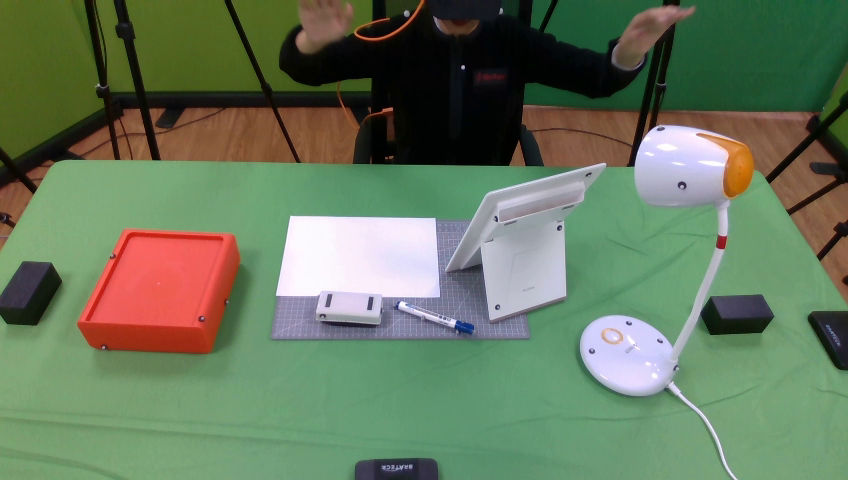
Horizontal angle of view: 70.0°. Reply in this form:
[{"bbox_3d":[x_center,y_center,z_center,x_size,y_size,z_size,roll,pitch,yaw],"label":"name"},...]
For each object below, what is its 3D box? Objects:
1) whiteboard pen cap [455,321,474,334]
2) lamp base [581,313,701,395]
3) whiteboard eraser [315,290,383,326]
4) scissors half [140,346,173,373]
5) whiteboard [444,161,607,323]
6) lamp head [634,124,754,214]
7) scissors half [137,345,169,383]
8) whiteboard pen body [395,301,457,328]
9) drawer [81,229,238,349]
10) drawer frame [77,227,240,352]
[{"bbox_3d":[0.069,0.151,1.046,0.033,0.018,0.018,14,47,16],"label":"whiteboard pen cap"},{"bbox_3d":[0.361,0.144,0.972,0.178,0.181,0.160,34,53,23],"label":"lamp base"},{"bbox_3d":[-0.130,0.120,1.054,0.113,0.042,0.055,4,47,0],"label":"whiteboard eraser"},{"bbox_3d":[-0.475,0.164,0.987,0.175,0.040,0.013,36,52,9],"label":"scissors half"},{"bbox_3d":[0.186,0.025,1.029,0.217,0.306,0.143,-14,68,-18],"label":"whiteboard"},{"bbox_3d":[0.351,-0.089,0.775,0.112,0.113,0.122,-30,30,-28],"label":"lamp head"},{"bbox_3d":[-0.479,0.171,0.996,0.175,0.040,0.013,48,46,-3],"label":"scissors half"},{"bbox_3d":[0.015,0.134,1.064,0.140,0.017,0.017,17,47,16],"label":"whiteboard pen body"},{"bbox_3d":[-0.444,0.080,1.046,0.194,0.073,0.210,3,47,-2],"label":"drawer"},{"bbox_3d":[-0.444,0.081,1.044,0.202,0.083,0.212,3,47,-3],"label":"drawer frame"}]
